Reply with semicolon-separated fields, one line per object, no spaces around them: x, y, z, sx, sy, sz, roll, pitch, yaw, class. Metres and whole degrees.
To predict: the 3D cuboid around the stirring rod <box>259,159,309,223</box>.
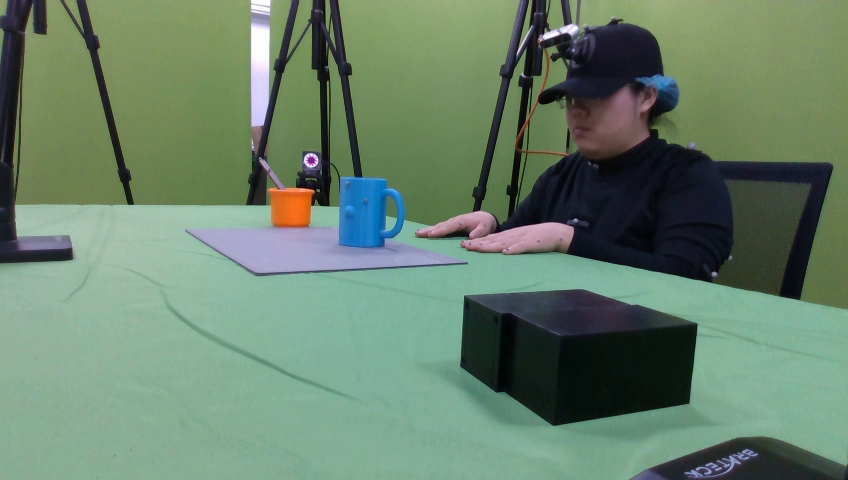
-0.286;-0.101;1.235;0.175;0.006;0.014;52;35;16;stirring rod

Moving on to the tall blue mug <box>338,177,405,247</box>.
-0.083;-0.046;0.977;0.107;0.108;0.078;2;6;-1;tall blue mug
